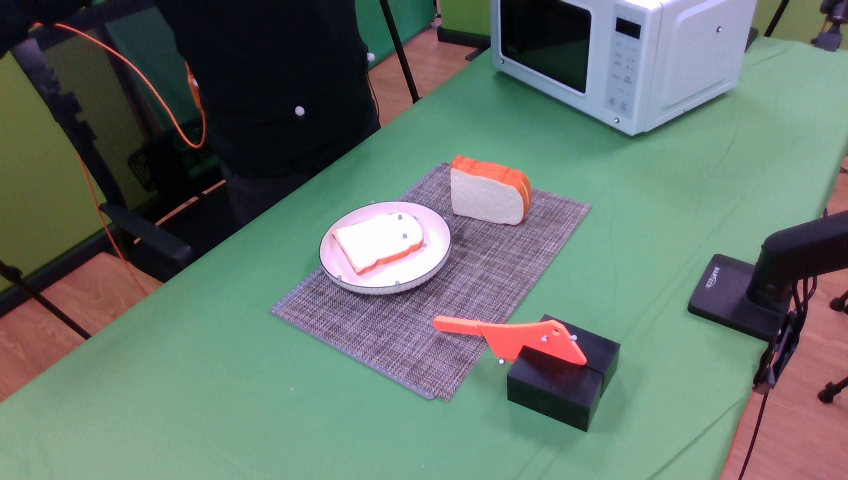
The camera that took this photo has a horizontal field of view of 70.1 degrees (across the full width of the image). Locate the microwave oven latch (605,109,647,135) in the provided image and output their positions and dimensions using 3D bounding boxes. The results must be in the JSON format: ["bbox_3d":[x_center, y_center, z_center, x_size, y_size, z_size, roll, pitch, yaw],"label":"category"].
[{"bbox_3d":[0.378,-0.225,1.139,0.030,0.029,0.078,-26,43,-19],"label":"microwave oven latch"}]

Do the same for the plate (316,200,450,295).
[{"bbox_3d":[-0.062,0.015,0.944,0.207,0.039,0.206,-4,41,4],"label":"plate"}]

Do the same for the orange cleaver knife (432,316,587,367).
[{"bbox_3d":[0.101,0.127,0.761,0.210,0.077,0.012,-1,34,40],"label":"orange cleaver knife"}]

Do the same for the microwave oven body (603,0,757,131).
[{"bbox_3d":[0.396,-0.448,1.248,0.327,0.261,0.437,-27,44,-21],"label":"microwave oven body"}]

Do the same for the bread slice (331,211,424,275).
[{"bbox_3d":[-0.069,-0.002,0.960,0.135,0.018,0.106,-23,46,-21],"label":"bread slice"}]

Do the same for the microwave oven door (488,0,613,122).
[{"bbox_3d":[0.250,-0.413,1.219,0.039,0.245,0.352,-27,44,-21],"label":"microwave oven door"}]
